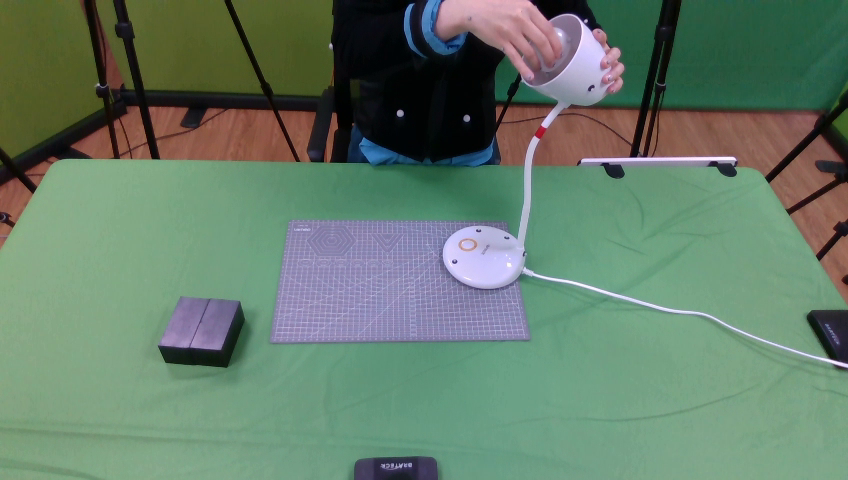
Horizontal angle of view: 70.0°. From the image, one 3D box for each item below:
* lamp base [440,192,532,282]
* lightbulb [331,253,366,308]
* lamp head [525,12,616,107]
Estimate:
[{"bbox_3d":[0.127,-0.032,1.123,0.179,0.181,0.159,11,47,2],"label":"lamp base"},{"bbox_3d":[-0.131,0.074,1.094,0.059,0.060,0.107,-15,65,-18],"label":"lightbulb"},{"bbox_3d":[0.221,-0.247,0.885,0.112,0.123,0.111,-25,47,29],"label":"lamp head"}]
